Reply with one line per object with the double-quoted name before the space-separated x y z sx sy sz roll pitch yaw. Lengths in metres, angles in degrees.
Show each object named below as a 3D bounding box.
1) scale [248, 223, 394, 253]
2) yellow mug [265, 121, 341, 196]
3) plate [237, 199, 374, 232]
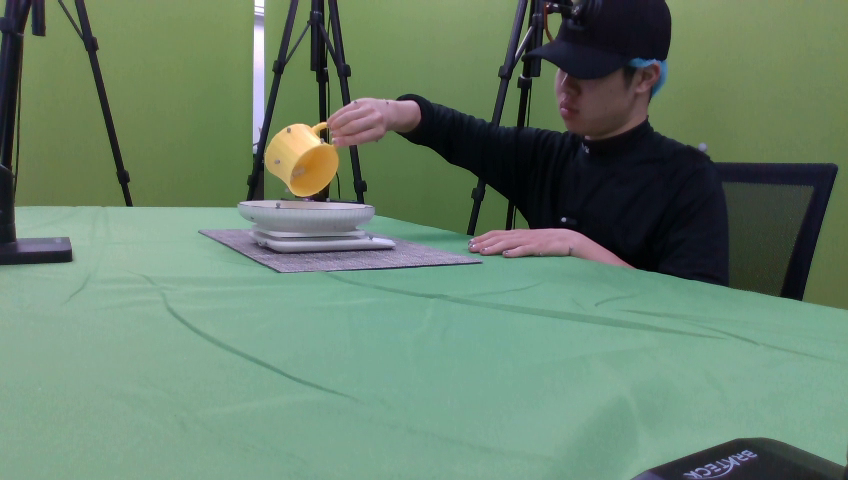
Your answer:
"scale" -0.162 -0.006 0.954 0.202 0.031 0.148 -2 8 -32
"yellow mug" -0.187 -0.141 0.985 0.064 0.131 0.100 41 -5 25
"plate" -0.183 -0.039 0.941 0.209 0.038 0.209 3 7 0
